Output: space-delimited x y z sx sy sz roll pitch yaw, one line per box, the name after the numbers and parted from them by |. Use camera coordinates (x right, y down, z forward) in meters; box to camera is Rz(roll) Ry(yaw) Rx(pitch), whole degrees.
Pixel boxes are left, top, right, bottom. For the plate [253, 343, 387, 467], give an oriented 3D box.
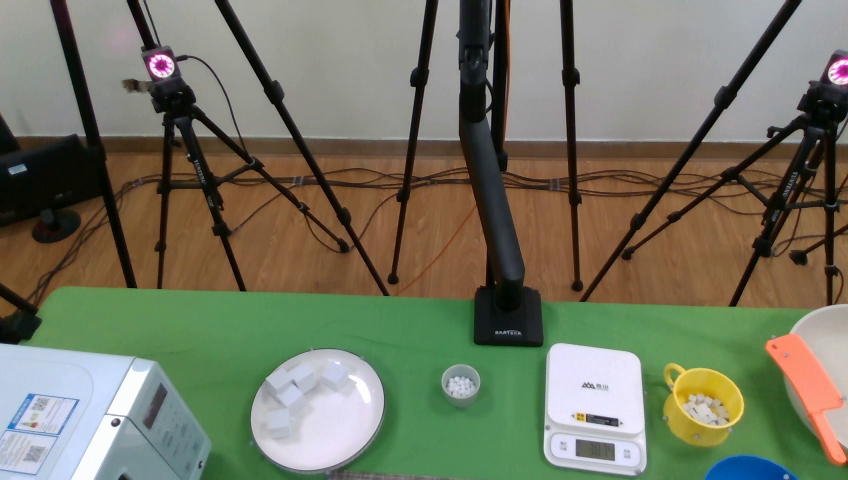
-0.160 0.259 0.953 0.207 0.039 0.205 -1 48 2 | plate

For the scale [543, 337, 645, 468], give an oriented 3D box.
0.264 0.247 0.945 0.148 0.032 0.199 5 49 8 | scale

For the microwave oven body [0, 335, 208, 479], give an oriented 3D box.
-0.511 0.365 0.718 0.325 0.262 0.438 4 49 6 | microwave oven body

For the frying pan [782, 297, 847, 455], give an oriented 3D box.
0.727 0.280 0.842 0.307 0.104 0.482 -19 41 -12 | frying pan

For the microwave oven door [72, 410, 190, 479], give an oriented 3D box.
-0.372 0.403 0.669 0.039 0.246 0.352 4 48 7 | microwave oven door

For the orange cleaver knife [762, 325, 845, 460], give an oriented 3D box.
0.569 0.214 0.884 0.077 0.012 0.209 -4 49 -3 | orange cleaver knife

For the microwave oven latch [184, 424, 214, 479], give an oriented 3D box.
-0.336 0.310 0.889 0.030 0.030 0.078 6 49 8 | microwave oven latch

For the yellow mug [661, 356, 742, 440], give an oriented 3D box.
0.412 0.232 0.928 0.100 0.064 0.129 -23 50 -16 | yellow mug

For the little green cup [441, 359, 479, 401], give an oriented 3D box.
0.058 0.227 0.970 0.061 0.039 0.061 -2 47 2 | little green cup

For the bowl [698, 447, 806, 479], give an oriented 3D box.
0.431 0.361 0.803 0.151 0.077 0.150 -1 49 2 | bowl
